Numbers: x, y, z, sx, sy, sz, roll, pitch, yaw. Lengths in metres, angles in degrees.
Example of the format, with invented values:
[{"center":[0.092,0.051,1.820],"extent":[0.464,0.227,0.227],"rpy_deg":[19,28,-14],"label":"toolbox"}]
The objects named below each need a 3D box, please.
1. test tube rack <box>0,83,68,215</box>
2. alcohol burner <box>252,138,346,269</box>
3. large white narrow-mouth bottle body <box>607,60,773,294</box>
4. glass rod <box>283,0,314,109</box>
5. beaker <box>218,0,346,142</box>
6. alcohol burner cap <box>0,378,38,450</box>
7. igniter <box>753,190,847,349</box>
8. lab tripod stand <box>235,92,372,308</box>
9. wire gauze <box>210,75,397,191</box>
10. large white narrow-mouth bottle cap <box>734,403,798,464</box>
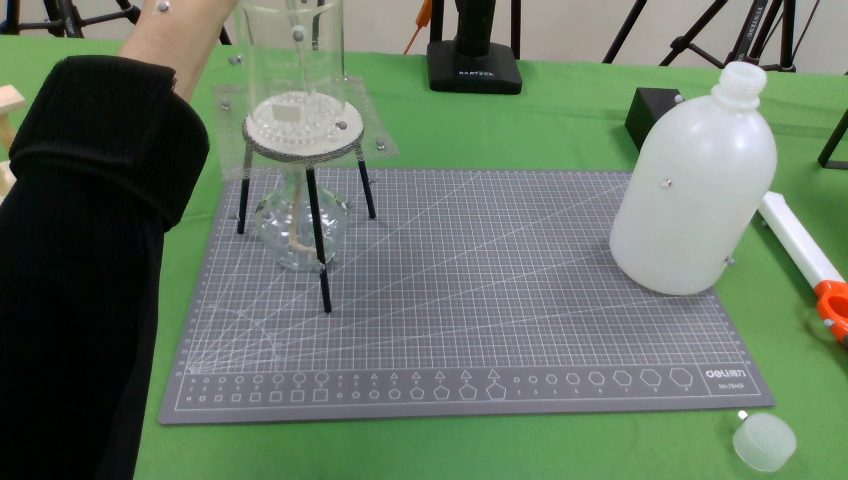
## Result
[{"center":[-0.446,-0.043,0.500],"extent":[0.242,0.086,0.066],"rpy_deg":[-32,55,-34],"label":"test tube rack"},{"center":[-0.104,-0.034,0.503],"extent":[0.078,0.120,0.077],"rpy_deg":[5,41,-4],"label":"alcohol burner"},{"center":[0.224,-0.052,0.500],"extent":[0.102,0.196,0.101],"rpy_deg":[3,43,-2],"label":"large white narrow-mouth bottle body"},{"center":[-0.094,-0.178,0.395],"extent":[0.008,0.201,0.008],"rpy_deg":[-3,39,3],"label":"glass rod"},{"center":[-0.095,-0.126,0.421],"extent":[0.084,0.101,0.073],"rpy_deg":[-4,45,-11],"label":"beaker"},{"center":[-0.274,0.109,0.388],"extent":[0.034,0.048,0.033],"rpy_deg":[5,42,-4],"label":"alcohol burner cap"},{"center":[0.360,0.048,0.535],"extent":[0.057,0.025,0.273],"rpy_deg":[9,42,-12],"label":"igniter"},{"center":[-0.094,-0.039,0.496],"extent":[0.148,0.132,0.147],"rpy_deg":[5,44,-4],"label":"lab tripod stand"},{"center":[-0.093,-0.088,0.452],"extent":[0.122,0.011,0.123],"rpy_deg":[-10,49,-15],"label":"wire gauze"},{"center":[0.243,0.138,0.431],"extent":[0.038,0.024,0.037],"rpy_deg":[3,43,-2],"label":"large white narrow-mouth bottle cap"}]
